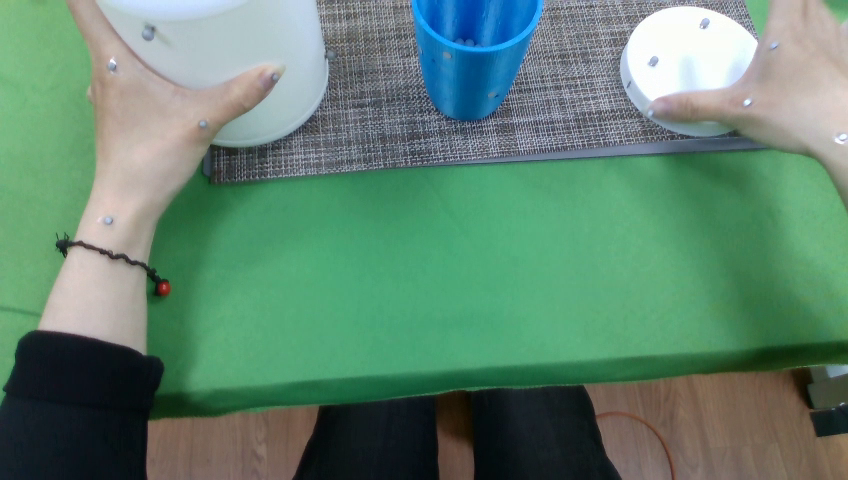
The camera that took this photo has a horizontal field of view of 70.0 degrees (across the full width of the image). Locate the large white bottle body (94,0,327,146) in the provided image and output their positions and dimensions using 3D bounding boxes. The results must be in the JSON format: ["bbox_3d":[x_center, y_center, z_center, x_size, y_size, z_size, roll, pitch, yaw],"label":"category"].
[{"bbox_3d":[-0.138,-0.160,0.390,0.131,0.186,0.129,1,68,-2],"label":"large white bottle body"}]

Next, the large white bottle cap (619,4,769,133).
[{"bbox_3d":[0.214,-0.139,0.482,0.115,0.018,0.114,1,68,-2],"label":"large white bottle cap"}]

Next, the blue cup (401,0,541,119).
[{"bbox_3d":[0.033,-0.138,0.432,0.092,0.101,0.092,0,69,0],"label":"blue cup"}]
